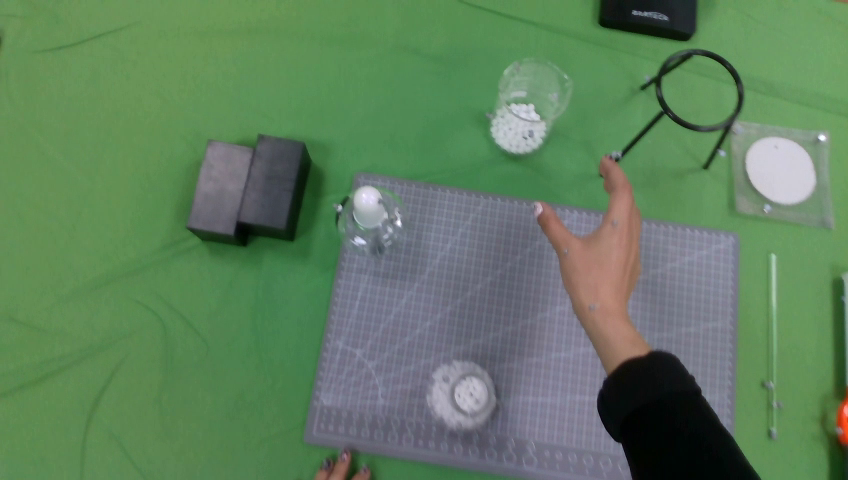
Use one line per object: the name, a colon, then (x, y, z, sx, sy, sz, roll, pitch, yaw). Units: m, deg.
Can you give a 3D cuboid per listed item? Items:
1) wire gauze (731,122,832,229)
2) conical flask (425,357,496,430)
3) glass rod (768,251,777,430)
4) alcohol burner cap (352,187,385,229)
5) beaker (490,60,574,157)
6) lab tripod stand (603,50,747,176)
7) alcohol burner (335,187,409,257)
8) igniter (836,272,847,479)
wire gauze: (0.427, -0.080, 0.722, 0.125, 0.011, 0.121, 8, 76, -2)
conical flask: (0.039, 0.149, 0.588, 0.075, 0.122, 0.075, 0, 76, -1)
glass rod: (0.388, 0.108, 0.673, 0.008, 0.008, 0.199, 8, 77, -1)
alcohol burner cap: (-0.055, -0.034, 0.596, 0.034, 0.048, 0.033, 2, 69, -4)
beaker: (0.116, -0.143, 0.677, 0.084, 0.100, 0.073, -16, 77, -7)
lab tripod stand: (0.273, -0.130, 0.663, 0.148, 0.132, 0.147, 0, 78, -2)
alcohol burner: (-0.055, -0.024, 0.630, 0.078, 0.119, 0.077, 0, 76, 0)
igniter: (0.470, 0.169, 0.653, 0.057, 0.025, 0.275, 12, 76, -10)
